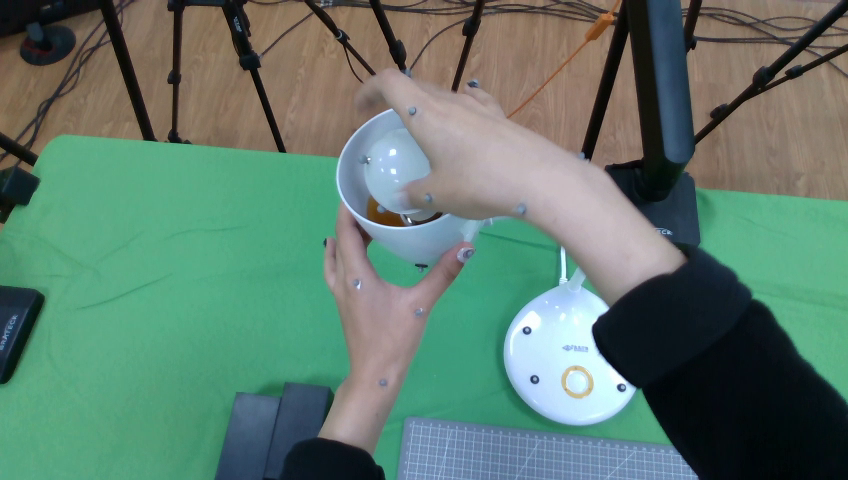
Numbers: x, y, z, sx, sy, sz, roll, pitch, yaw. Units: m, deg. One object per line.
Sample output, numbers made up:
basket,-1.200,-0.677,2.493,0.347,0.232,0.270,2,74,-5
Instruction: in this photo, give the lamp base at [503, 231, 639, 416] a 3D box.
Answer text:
lamp base,0.170,0.082,0.659,0.161,0.182,0.177,-7,60,-2

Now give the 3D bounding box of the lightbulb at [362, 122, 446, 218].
lightbulb,-0.009,-0.044,0.453,0.059,0.108,0.059,-5,66,12

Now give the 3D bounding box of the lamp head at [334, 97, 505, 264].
lamp head,0.004,-0.034,0.480,0.112,0.124,0.111,-8,61,15
